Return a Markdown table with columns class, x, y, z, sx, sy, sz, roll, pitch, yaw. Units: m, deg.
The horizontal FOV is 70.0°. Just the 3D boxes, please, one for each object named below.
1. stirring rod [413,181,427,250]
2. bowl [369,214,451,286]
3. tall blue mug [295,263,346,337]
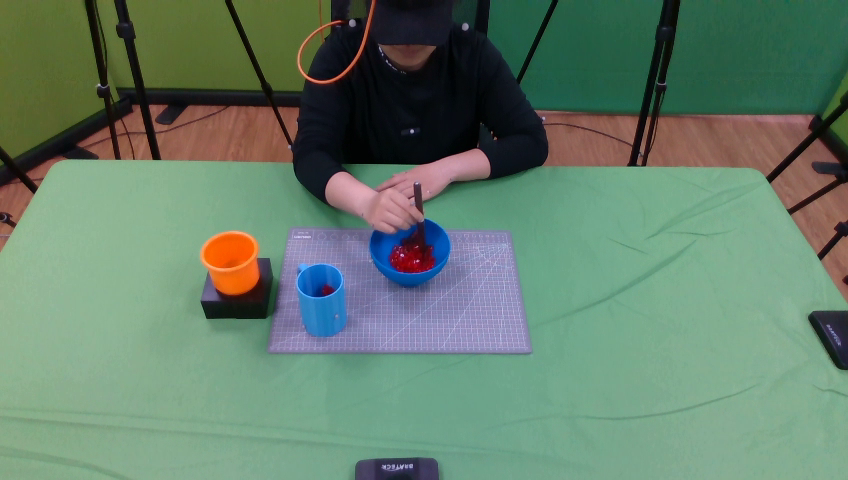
| class | x | y | z | sx | sy | sz | roll | pitch | yaw |
| --- | --- | --- | --- | --- | --- | --- | --- | --- | --- |
| stirring rod | -0.007 | -0.040 | 1.076 | 0.014 | 0.177 | 0.006 | 9 | 52 | 12 |
| bowl | -0.027 | 0.031 | 1.122 | 0.151 | 0.077 | 0.150 | 2 | 46 | -2 |
| tall blue mug | -0.187 | 0.096 | 1.027 | 0.107 | 0.108 | 0.077 | 21 | 49 | 16 |
